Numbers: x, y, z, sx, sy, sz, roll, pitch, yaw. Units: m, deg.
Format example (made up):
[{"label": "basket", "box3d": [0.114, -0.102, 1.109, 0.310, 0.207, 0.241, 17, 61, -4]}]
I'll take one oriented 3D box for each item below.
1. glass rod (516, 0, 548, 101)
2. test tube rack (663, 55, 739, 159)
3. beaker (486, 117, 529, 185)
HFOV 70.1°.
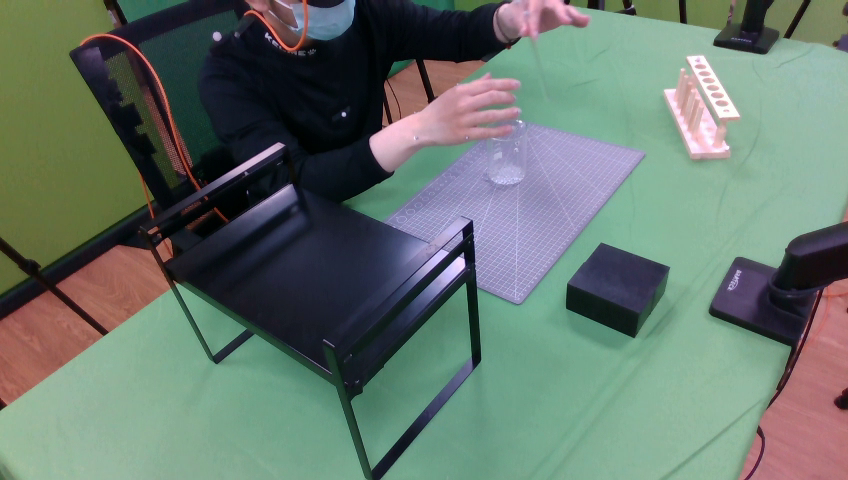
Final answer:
[{"label": "glass rod", "box3d": [0.168, -0.308, 0.955, 0.008, 0.201, 0.008, -17, 34, 12]}, {"label": "test tube rack", "box3d": [0.518, -0.256, 1.144, 0.066, 0.085, 0.241, -1, 41, 8]}, {"label": "beaker", "box3d": [0.149, -0.155, 1.066, 0.084, 0.101, 0.073, -30, 46, -25]}]
